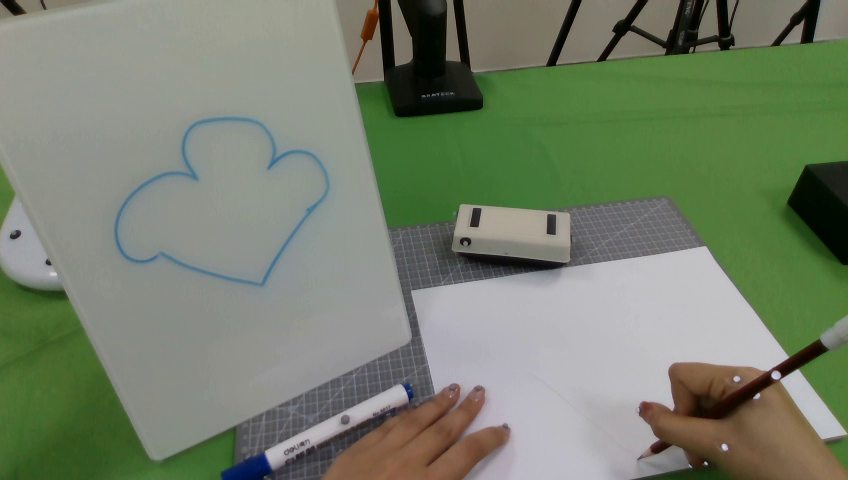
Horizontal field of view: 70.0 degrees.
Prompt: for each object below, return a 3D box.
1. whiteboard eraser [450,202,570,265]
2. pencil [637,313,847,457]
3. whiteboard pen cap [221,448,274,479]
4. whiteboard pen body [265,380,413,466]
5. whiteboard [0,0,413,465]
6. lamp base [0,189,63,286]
[{"bbox_3d":[0.084,-0.005,0.588,0.112,0.042,0.055,6,44,7],"label":"whiteboard eraser"},{"bbox_3d":[0.191,0.097,0.374,0.012,0.195,0.012,15,46,-16],"label":"pencil"},{"bbox_3d":[-0.123,0.159,0.423,0.033,0.018,0.018,-23,47,-21],"label":"whiteboard pen cap"},{"bbox_3d":[-0.072,0.138,0.445,0.141,0.017,0.017,-22,47,-20],"label":"whiteboard pen body"},{"bbox_3d":[-0.160,-0.030,0.468,0.217,0.308,0.142,-22,27,-21],"label":"whiteboard"},{"bbox_3d":[-0.352,-0.074,0.563,0.178,0.182,0.160,21,47,25],"label":"lamp base"}]
